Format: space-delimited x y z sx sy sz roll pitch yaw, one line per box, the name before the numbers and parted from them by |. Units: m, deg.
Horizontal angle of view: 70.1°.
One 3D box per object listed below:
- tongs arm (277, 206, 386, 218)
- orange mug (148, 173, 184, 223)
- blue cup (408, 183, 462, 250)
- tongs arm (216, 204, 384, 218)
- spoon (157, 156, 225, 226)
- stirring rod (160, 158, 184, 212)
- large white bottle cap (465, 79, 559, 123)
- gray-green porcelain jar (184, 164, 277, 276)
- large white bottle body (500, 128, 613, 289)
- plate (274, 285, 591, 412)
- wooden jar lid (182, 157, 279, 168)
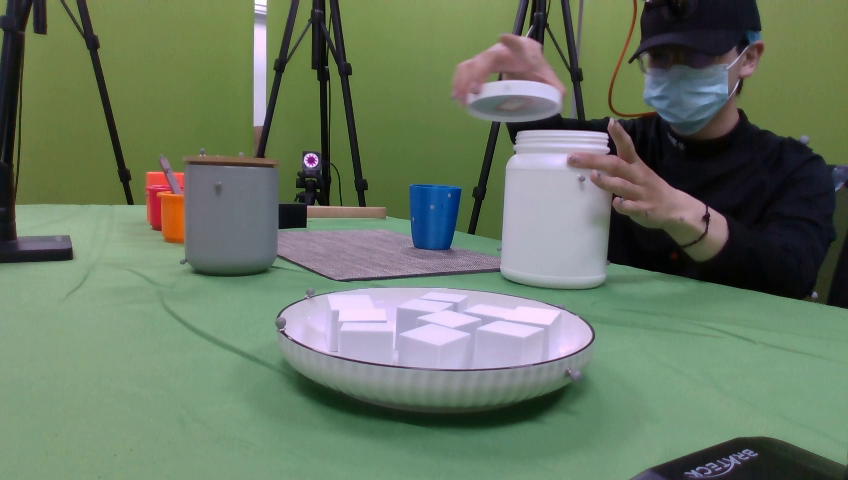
tongs arm | -0.251 -0.063 1.360 0.387 0.026 0.050 -1 3 -31
orange mug | -0.490 -0.087 1.222 0.127 0.101 0.083 -9 13 -38
blue cup | 0.015 -0.038 0.970 0.093 0.100 0.092 3 9 0
tongs arm | -0.288 -0.069 1.435 0.389 0.027 0.028 0 -1 -17
spoon | -0.425 -0.094 1.117 0.041 0.022 0.194 5 51 29
stirring rod | -0.391 -0.070 0.972 0.014 0.006 0.175 -1 50 -49
large white bottle cap | 0.108 -0.169 0.744 0.115 0.018 0.115 2 -6 0
gray-green porcelain jar | -0.230 -0.025 0.722 0.106 0.126 0.106 3 7 0
large white bottle body | 0.163 -0.041 0.744 0.131 0.184 0.130 2 7 0
plate | 0.005 0.069 0.408 0.208 0.039 0.207 2 7 0
wooden jar lid | -0.227 -0.086 0.714 0.108 0.020 0.108 1 6 0
